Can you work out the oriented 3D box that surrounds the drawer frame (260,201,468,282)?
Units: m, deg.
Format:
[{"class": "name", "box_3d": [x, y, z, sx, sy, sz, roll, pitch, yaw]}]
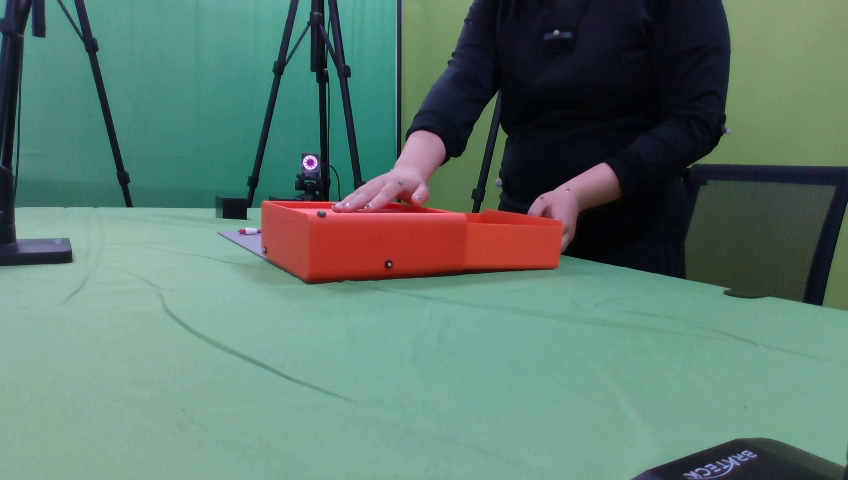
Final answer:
[{"class": "drawer frame", "box_3d": [-0.084, -0.006, 0.794, 0.215, 0.082, 0.200, -2, 9, -30]}]

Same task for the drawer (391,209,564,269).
[{"class": "drawer", "box_3d": [0.059, -0.006, 0.879, 0.213, 0.073, 0.193, 1, 8, -31]}]

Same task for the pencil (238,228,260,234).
[{"class": "pencil", "box_3d": [-0.241, -0.015, 1.105, 0.195, 0.012, 0.012, 0, 7, -30]}]
